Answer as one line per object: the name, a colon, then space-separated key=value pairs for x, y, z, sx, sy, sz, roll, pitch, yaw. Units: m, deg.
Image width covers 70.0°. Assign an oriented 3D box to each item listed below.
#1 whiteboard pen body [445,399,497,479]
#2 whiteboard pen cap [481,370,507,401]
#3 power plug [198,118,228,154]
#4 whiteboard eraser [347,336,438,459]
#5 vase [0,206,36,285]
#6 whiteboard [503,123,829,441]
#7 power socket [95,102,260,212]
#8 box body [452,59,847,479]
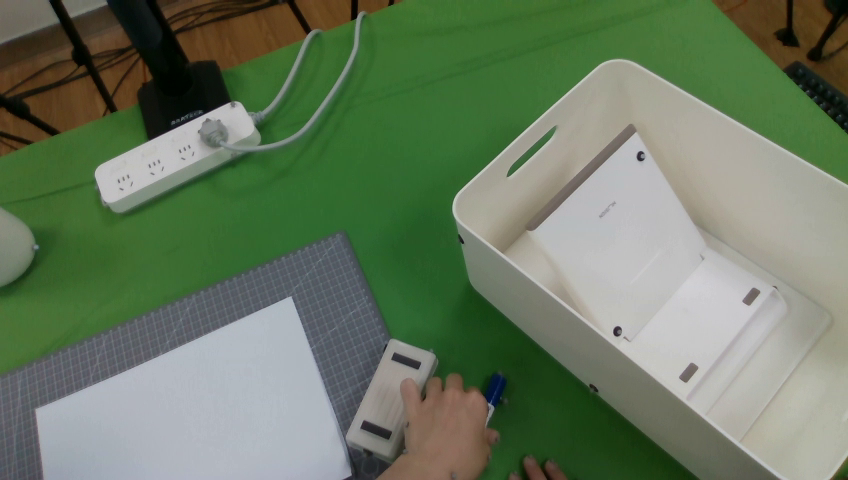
whiteboard pen body: x=0.046 y=0.200 z=0.598 sx=0.017 sy=0.017 sz=0.140 roll=22 pitch=66 yaw=18
whiteboard pen cap: x=0.071 y=0.152 z=0.621 sx=0.018 sy=0.018 sz=0.033 roll=21 pitch=67 yaw=18
power plug: x=-0.266 y=-0.124 z=0.774 sx=0.035 sy=0.053 sz=0.072 roll=-19 pitch=67 yaw=-4
whiteboard eraser: x=-0.030 y=0.158 z=0.611 sx=0.055 sy=0.042 sz=0.112 roll=17 pitch=65 yaw=16
vase: x=-0.540 y=-0.024 z=0.681 sx=0.098 sy=0.202 sz=0.097 roll=-3 pitch=61 yaw=6
whiteboard: x=0.233 y=0.025 z=0.601 sx=0.303 sy=0.145 sz=0.217 roll=38 pitch=69 yaw=24
power socket: x=-0.323 y=-0.111 z=0.799 sx=0.227 sy=0.033 sz=0.071 roll=-28 pitch=63 yaw=-10
box body: x=0.238 y=0.029 z=0.585 sx=0.361 sy=0.162 sz=0.254 roll=40 pitch=72 yaw=24
